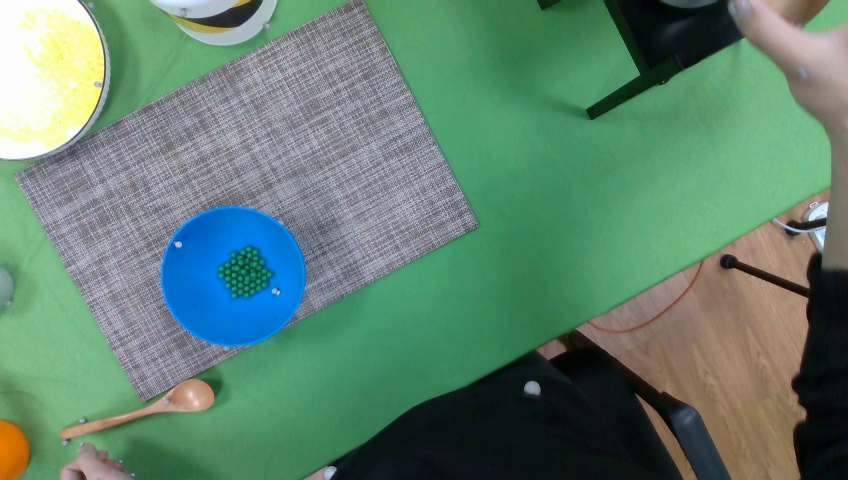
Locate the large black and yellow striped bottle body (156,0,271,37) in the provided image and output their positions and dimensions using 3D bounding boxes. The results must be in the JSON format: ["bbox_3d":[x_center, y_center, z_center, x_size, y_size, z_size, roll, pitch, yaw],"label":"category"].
[{"bbox_3d":[-0.231,-0.293,0.606,0.131,0.183,0.131,0,93,-3],"label":"large black and yellow striped bottle body"}]

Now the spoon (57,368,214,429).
[{"bbox_3d":[-0.340,0.191,0.712,0.194,0.021,0.042,-17,107,-3],"label":"spoon"}]

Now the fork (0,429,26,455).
[{"bbox_3d":[-0.545,0.246,0.642,0.208,0.018,0.028,-11,98,-46],"label":"fork"}]

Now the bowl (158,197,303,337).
[{"bbox_3d":[-0.206,0.027,0.677,0.151,0.076,0.151,0,94,-3],"label":"bowl"}]

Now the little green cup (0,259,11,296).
[{"bbox_3d":[-0.506,0.044,0.686,0.061,0.038,0.061,0,94,-2],"label":"little green cup"}]

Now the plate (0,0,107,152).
[{"bbox_3d":[-0.456,-0.200,0.673,0.209,0.038,0.209,0,94,-3],"label":"plate"}]

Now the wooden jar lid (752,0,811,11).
[{"bbox_3d":[0.234,-0.199,0.372,0.108,0.020,0.109,-14,128,-18],"label":"wooden jar lid"}]
